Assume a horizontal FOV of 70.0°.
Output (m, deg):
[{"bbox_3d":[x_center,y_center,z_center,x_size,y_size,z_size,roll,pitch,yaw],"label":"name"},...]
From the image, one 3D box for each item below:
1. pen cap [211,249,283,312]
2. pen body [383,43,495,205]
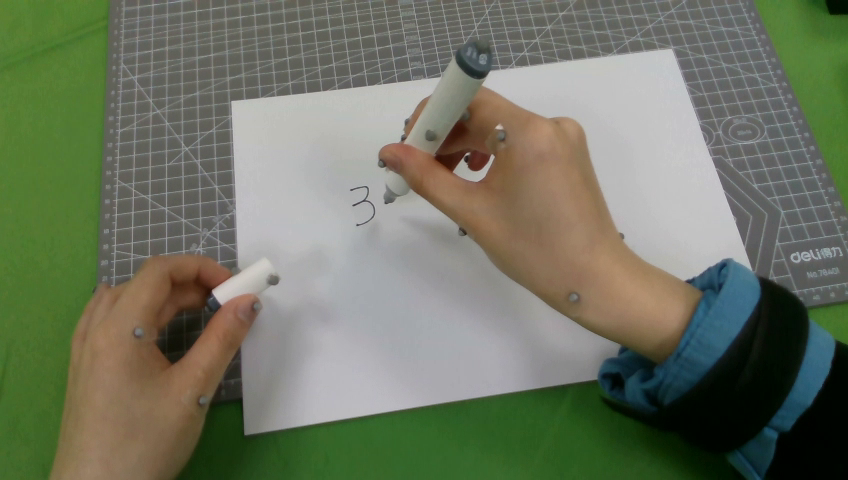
[{"bbox_3d":[-0.093,0.022,0.317,0.038,0.017,0.017,-36,71,7],"label":"pen cap"},{"bbox_3d":[0.000,-0.045,0.292,0.017,0.144,0.017,6,69,-17],"label":"pen body"}]
